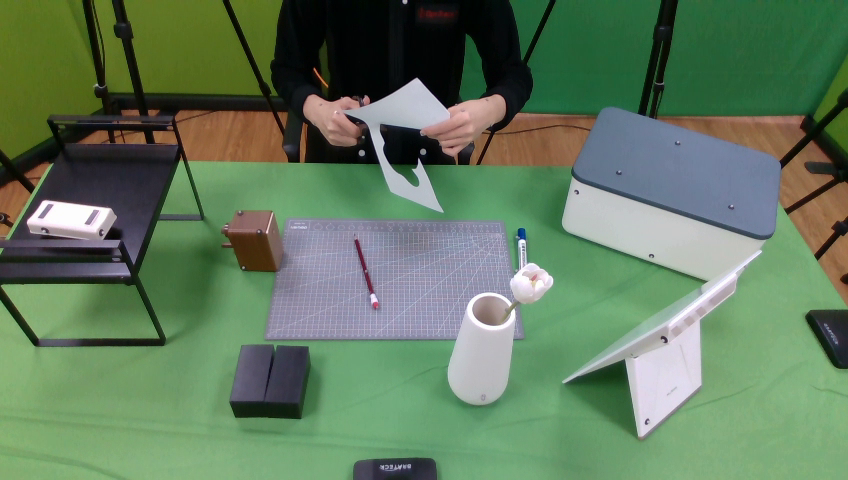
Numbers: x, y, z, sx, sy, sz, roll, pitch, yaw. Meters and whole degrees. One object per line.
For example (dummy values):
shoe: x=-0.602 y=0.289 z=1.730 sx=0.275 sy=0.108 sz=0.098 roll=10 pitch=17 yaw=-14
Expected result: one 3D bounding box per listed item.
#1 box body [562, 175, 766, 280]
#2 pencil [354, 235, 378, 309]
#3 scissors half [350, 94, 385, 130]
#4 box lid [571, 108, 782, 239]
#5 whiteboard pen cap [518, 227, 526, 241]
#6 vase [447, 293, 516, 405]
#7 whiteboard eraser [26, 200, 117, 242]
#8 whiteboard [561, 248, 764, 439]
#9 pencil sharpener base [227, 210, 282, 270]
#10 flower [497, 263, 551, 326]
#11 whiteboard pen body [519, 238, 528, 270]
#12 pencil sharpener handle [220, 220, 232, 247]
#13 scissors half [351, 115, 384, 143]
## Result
box body: x=0.486 y=-0.088 z=1.222 sx=0.363 sy=0.161 sz=0.253 roll=20 pitch=48 yaw=15
pencil: x=-0.113 y=0.055 z=1.143 sx=0.012 sy=0.012 sz=0.192 roll=-10 pitch=46 yaw=-13
scissors half: x=-0.100 y=-0.219 z=1.054 sx=0.013 sy=0.040 sz=0.174 roll=-11 pitch=32 yaw=-21
box lid: x=0.491 y=-0.139 z=1.168 sx=0.370 sy=0.015 sz=0.262 roll=21 pitch=49 yaw=15
whiteboard pen cap: x=0.197 y=-0.009 z=1.220 sx=0.018 sy=0.018 sz=0.033 roll=5 pitch=51 yaw=1
vase: x=0.091 y=0.168 z=0.921 sx=0.098 sy=0.201 sz=0.097 roll=3 pitch=47 yaw=-3
whiteboard eraser: x=-0.532 y=-0.026 z=0.919 sx=0.113 sy=0.042 sz=0.055 roll=7 pitch=45 yaw=3
whiteboard: x=0.386 y=0.176 z=0.905 sx=0.217 sy=0.306 sz=0.143 roll=-26 pitch=72 yaw=-27
pencil sharpener base: x=-0.311 y=0.001 z=1.112 sx=0.077 sy=0.107 sz=0.061 roll=1 pitch=47 yaw=1
flower: x=0.102 y=0.121 z=0.853 sx=0.044 sy=0.363 sz=0.038 roll=-2 pitch=64 yaw=-10
whiteboard pen body: x=0.193 y=0.035 z=1.180 sx=0.017 sy=0.017 sz=0.140 roll=6 pitch=48 yaw=1
pencil sharpener handle: x=-0.362 y=-0.009 z=1.104 sx=0.030 sy=0.068 sz=0.036 roll=1 pitch=52 yaw=1
scissors half: x=-0.099 y=-0.197 z=1.059 sx=0.013 sy=0.175 sz=0.040 roll=-6 pitch=92 yaw=-22
